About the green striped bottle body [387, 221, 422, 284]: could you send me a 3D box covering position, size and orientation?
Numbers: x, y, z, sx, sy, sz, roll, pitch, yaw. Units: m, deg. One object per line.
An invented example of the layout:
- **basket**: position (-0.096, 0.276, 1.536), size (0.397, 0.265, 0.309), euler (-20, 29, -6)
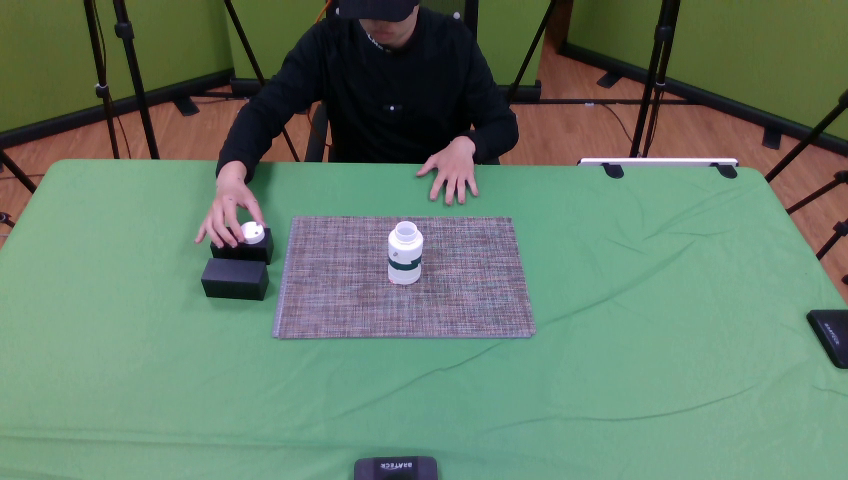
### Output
- **green striped bottle body**: position (-0.035, 0.021, 1.103), size (0.063, 0.120, 0.063), euler (2, 46, -2)

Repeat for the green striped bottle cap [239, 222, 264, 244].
- **green striped bottle cap**: position (-0.320, -0.012, 1.122), size (0.044, 0.020, 0.044), euler (1, 44, -1)
